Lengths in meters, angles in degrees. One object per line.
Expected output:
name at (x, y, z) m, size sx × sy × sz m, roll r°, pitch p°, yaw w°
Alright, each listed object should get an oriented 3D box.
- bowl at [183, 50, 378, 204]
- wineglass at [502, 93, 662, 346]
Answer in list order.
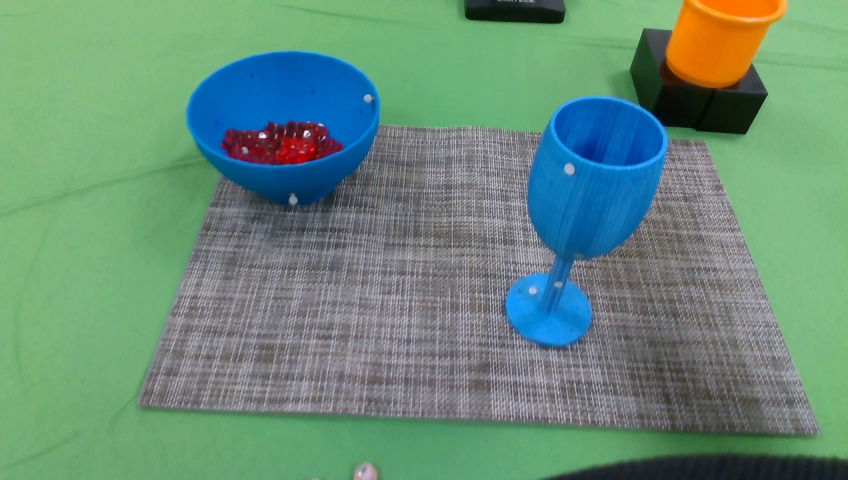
bowl at (-0.113, -0.084, 0.507) m, size 0.151 × 0.077 × 0.150 m, roll 2°, pitch 50°, yaw -2°
wineglass at (0.093, -0.004, 0.389) m, size 0.074 × 0.174 × 0.073 m, roll 1°, pitch 50°, yaw -1°
